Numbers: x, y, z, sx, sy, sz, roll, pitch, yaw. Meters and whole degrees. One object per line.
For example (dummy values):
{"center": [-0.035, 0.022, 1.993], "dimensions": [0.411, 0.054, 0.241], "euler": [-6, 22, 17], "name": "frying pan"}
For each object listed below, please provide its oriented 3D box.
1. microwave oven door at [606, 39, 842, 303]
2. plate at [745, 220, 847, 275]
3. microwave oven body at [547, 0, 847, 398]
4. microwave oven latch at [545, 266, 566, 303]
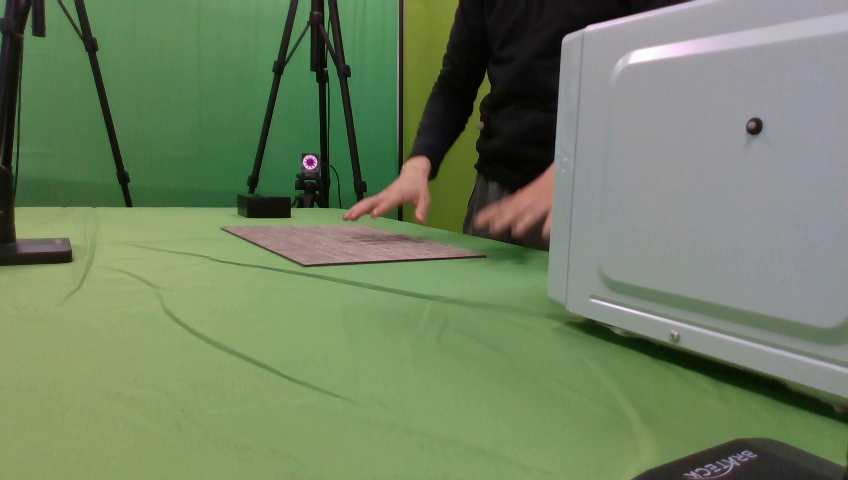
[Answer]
{"center": [0.341, -0.070, 0.654], "dimensions": [0.358, 0.243, 0.039], "euler": [-3, 9, -31], "name": "microwave oven door"}
{"center": [0.407, 0.008, 0.552], "dimensions": [0.209, 0.038, 0.209], "euler": [3, 6, 0], "name": "plate"}
{"center": [0.378, -0.045, 0.509], "dimensions": [0.444, 0.260, 0.324], "euler": [-2, 8, -31], "name": "microwave oven body"}
{"center": [0.148, 0.039, 0.555], "dimensions": [0.079, 0.029, 0.030], "euler": [-2, 7, -29], "name": "microwave oven latch"}
